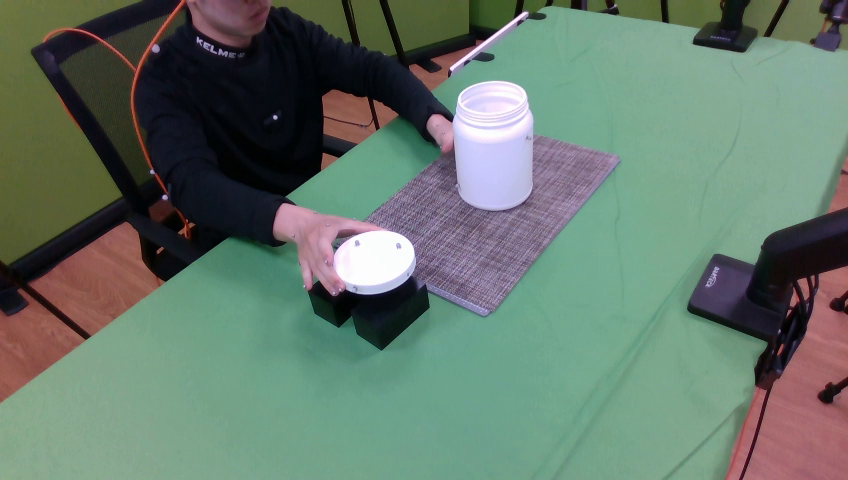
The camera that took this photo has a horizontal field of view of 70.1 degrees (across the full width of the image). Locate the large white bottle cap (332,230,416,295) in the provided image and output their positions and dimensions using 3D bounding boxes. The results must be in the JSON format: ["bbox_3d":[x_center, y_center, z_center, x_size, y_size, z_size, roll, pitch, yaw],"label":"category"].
[{"bbox_3d":[-0.068,0.029,0.828,0.115,0.018,0.114,-4,40,4],"label":"large white bottle cap"}]

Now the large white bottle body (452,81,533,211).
[{"bbox_3d":[0.115,-0.155,1.002,0.130,0.185,0.130,-4,41,4],"label":"large white bottle body"}]
